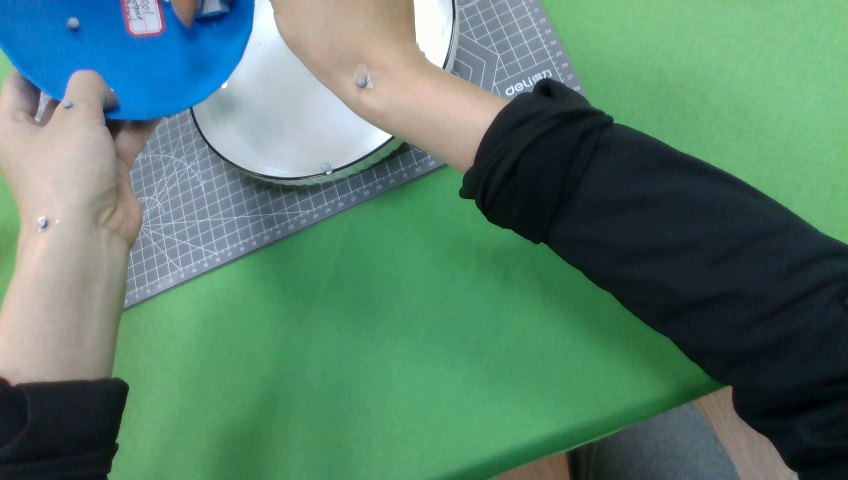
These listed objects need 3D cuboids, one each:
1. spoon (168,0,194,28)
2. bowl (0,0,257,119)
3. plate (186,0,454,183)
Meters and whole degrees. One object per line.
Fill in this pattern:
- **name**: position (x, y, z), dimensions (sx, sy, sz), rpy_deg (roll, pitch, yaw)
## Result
- **spoon**: position (-0.112, -0.165, 0.323), dimensions (0.193, 0.022, 0.041), rpy_deg (-11, 91, 53)
- **bowl**: position (-0.185, -0.151, 0.384), dimensions (0.152, 0.076, 0.151), rpy_deg (-3, 100, -15)
- **plate**: position (-0.076, -0.135, 0.439), dimensions (0.208, 0.038, 0.208), rpy_deg (-5, 73, 16)
